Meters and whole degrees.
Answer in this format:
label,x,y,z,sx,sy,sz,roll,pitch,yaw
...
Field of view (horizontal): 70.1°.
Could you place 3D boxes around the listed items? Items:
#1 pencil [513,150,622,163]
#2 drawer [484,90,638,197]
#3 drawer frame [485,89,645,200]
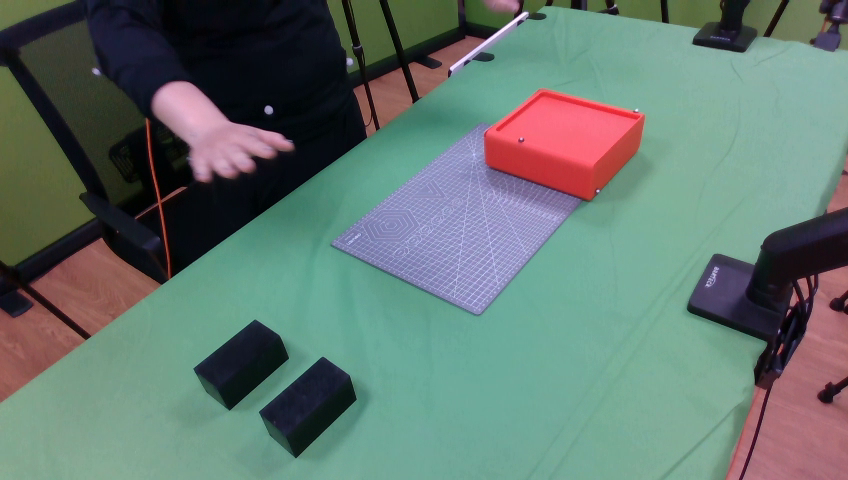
label,x,y,z,sx,sy,sz,roll,pitch,yaw
pencil,0.260,-0.150,1.099,0.194,0.012,0.012,-4,40,6
drawer,0.248,-0.180,1.098,0.210,0.073,0.195,25,49,31
drawer frame,0.253,-0.180,1.094,0.212,0.083,0.202,24,48,31
